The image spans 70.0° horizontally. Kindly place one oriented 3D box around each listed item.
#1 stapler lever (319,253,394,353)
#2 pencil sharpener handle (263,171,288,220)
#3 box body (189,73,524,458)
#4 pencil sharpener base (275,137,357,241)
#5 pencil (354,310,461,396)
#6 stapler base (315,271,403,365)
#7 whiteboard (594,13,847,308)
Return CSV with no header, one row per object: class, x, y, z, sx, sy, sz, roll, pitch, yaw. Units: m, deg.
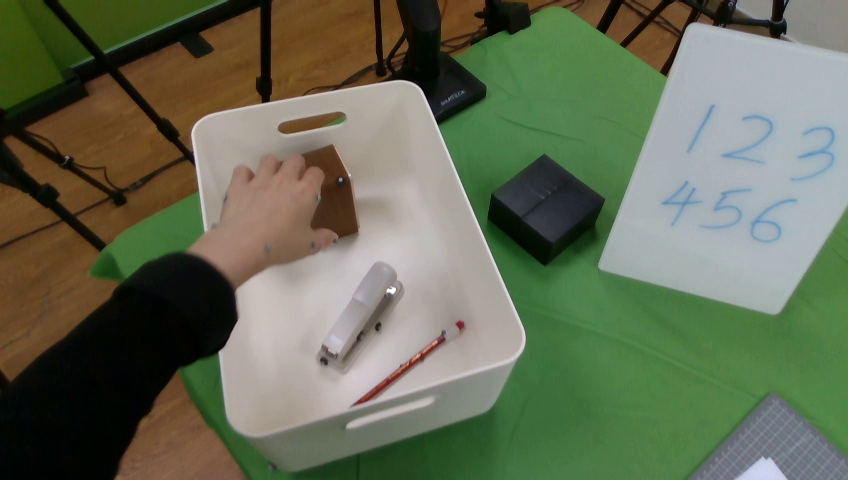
stapler lever,-0.072,0.065,0.663,0.026,0.040,0.117,26,62,17
pencil sharpener handle,-0.176,-0.047,0.699,0.031,0.068,0.035,-21,59,-13
box body,-0.082,0.019,0.648,0.254,0.162,0.360,-14,59,-10
pencil sharpener base,-0.129,-0.058,0.721,0.077,0.108,0.060,-21,59,-13
pencil,-0.031,0.136,0.657,0.194,0.012,0.012,-37,65,-22
stapler base,-0.072,0.078,0.686,0.041,0.024,0.130,26,62,17
whiteboard,0.349,-0.103,0.693,0.217,0.308,0.143,15,38,9
